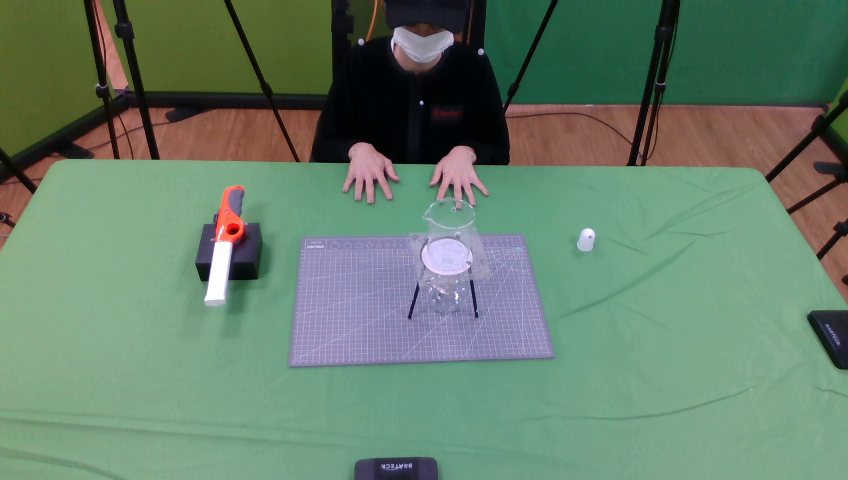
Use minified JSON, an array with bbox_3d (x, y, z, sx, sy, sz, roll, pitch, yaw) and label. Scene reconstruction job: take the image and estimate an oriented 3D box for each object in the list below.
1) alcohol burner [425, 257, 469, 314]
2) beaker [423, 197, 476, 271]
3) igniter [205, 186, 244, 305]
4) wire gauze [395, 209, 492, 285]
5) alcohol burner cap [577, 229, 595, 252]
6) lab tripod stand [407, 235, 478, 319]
[{"bbox_3d":[0.040,0.074,1.063,0.078,0.120,0.077,1,46,-1],"label":"alcohol burner"},{"bbox_3d":[0.038,-0.007,0.967,0.084,0.101,0.073,-4,43,-7],"label":"beaker"},{"bbox_3d":[-0.361,0.001,1.100,0.057,0.025,0.274,-2,49,-6],"label":"igniter"},{"bbox_3d":[0.031,0.011,0.995,0.125,0.011,0.120,-23,53,-19],"label":"wire gauze"},{"bbox_3d":[0.326,-0.002,1.213,0.034,0.048,0.033,1,47,-1],"label":"alcohol burner cap"},{"bbox_3d":[0.032,0.065,1.057,0.148,0.132,0.147,1,45,-1],"label":"lab tripod stand"}]
